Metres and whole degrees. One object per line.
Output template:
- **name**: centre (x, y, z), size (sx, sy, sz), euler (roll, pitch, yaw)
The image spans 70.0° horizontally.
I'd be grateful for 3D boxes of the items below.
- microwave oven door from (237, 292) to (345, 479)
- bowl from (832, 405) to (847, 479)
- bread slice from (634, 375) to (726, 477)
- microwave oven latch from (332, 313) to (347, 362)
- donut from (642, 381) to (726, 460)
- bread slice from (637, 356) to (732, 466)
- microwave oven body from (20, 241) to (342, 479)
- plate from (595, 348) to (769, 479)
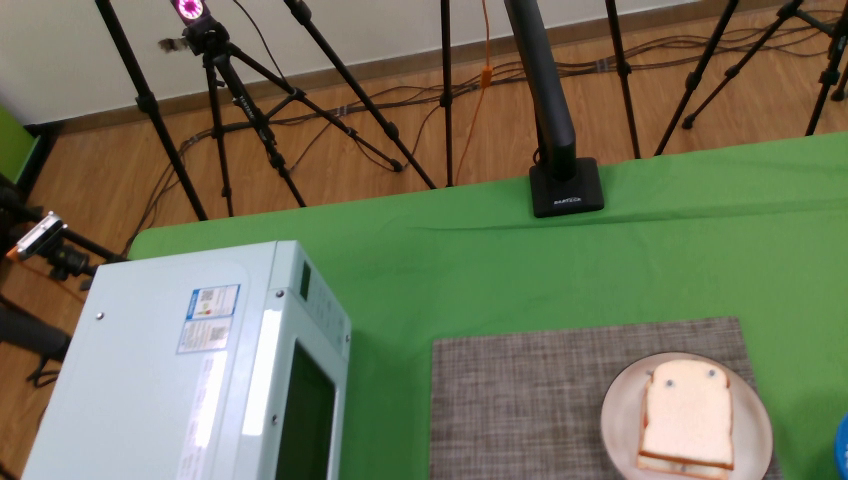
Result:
- **microwave oven door**: centre (-0.161, 0.274, 0.756), size (0.039, 0.246, 0.352), euler (-8, 54, 10)
- **bowl**: centre (0.548, 0.258, 0.699), size (0.151, 0.077, 0.150), euler (-7, 54, 10)
- **bread slice**: centre (0.330, 0.236, 0.794), size (0.106, 0.018, 0.133), euler (1, 55, 15)
- **microwave oven latch**: centre (-0.139, 0.155, 0.963), size (0.030, 0.030, 0.078), euler (-8, 55, 9)
- **donut**: centre (0.326, 0.227, 0.764), size (0.099, 0.049, 0.098), euler (-5, 58, 9)
- **bread slice**: centre (0.320, 0.205, 0.747), size (0.104, 0.019, 0.130), euler (0, 54, 23)
- **microwave oven body**: centre (-0.304, 0.264, 0.809), size (0.325, 0.263, 0.437), euler (-8, 55, 9)
- **plate**: centre (0.330, 0.243, 0.790), size (0.207, 0.039, 0.205), euler (-7, 54, 11)
